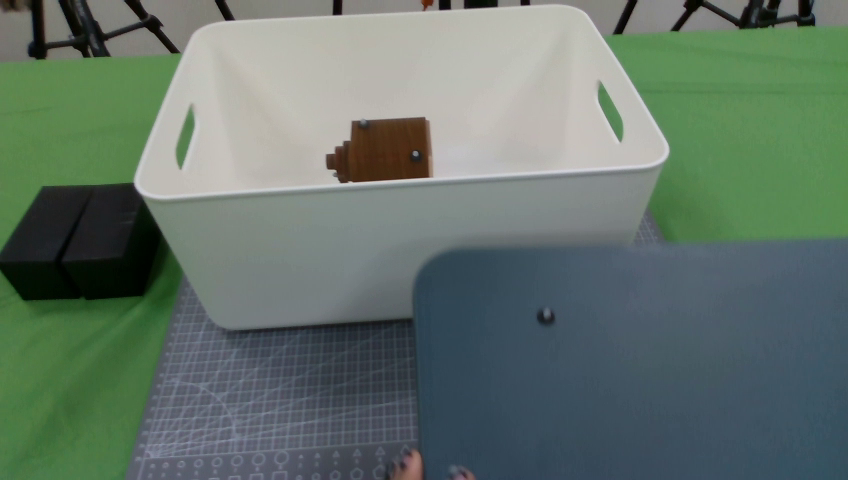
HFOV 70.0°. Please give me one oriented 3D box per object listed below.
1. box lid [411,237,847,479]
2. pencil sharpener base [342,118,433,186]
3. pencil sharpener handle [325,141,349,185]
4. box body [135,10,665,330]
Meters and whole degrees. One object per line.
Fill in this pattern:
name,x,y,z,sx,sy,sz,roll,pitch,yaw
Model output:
box lid,0.179,0.108,0.326,0.372,0.015,0.260,-2,53,-4
pencil sharpener base,-0.031,-0.050,0.550,0.077,0.108,0.060,-3,45,-1
pencil sharpener handle,-0.082,-0.057,0.540,0.030,0.068,0.035,-3,48,-1
box body,-0.017,-0.068,0.538,0.364,0.162,0.251,-4,45,-3
